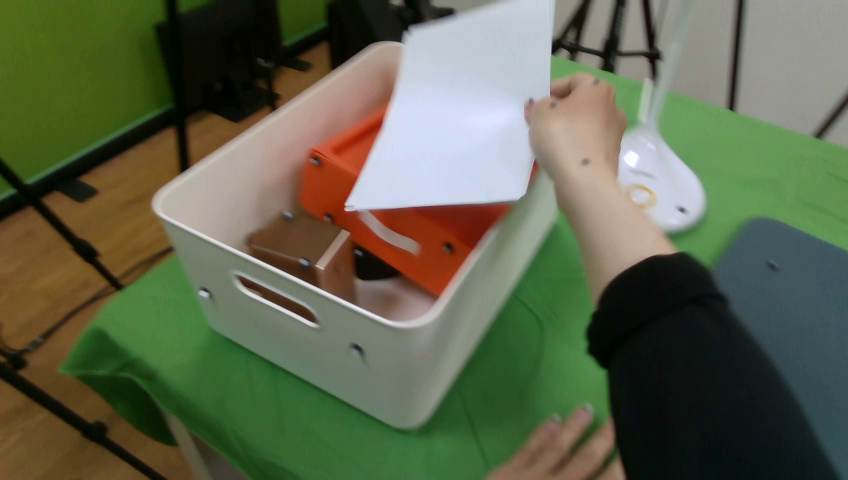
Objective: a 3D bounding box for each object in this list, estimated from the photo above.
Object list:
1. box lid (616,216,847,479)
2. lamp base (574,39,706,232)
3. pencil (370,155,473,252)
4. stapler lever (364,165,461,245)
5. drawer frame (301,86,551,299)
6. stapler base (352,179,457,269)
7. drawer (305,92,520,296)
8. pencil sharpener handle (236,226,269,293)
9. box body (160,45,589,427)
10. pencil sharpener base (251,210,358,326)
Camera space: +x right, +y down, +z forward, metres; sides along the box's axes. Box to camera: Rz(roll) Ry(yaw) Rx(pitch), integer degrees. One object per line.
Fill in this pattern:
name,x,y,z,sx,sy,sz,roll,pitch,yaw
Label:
box lid,0.377,0.116,0.578,0.261,0.015,0.371,31,50,28
lamp base,0.272,-0.130,0.713,0.160,0.182,0.178,8,41,6
pencil,-0.007,-0.042,0.637,0.012,0.012,0.192,-23,46,-24
stapler lever,-0.011,-0.041,0.597,0.027,0.040,0.117,-24,59,-43
drawer frame,0.018,-0.056,0.633,0.201,0.083,0.213,32,40,11
stapler base,-0.017,-0.023,0.612,0.129,0.024,0.041,43,42,23
drawer,0.018,-0.054,0.631,0.194,0.073,0.211,32,41,11
pencil sharpener handle,-0.161,0.015,0.564,0.030,0.068,0.036,16,12,16
box body,-0.024,-0.028,0.605,0.252,0.162,0.363,23,47,20
pencil sharpener base,-0.110,0.035,0.567,0.076,0.108,0.061,16,45,16
